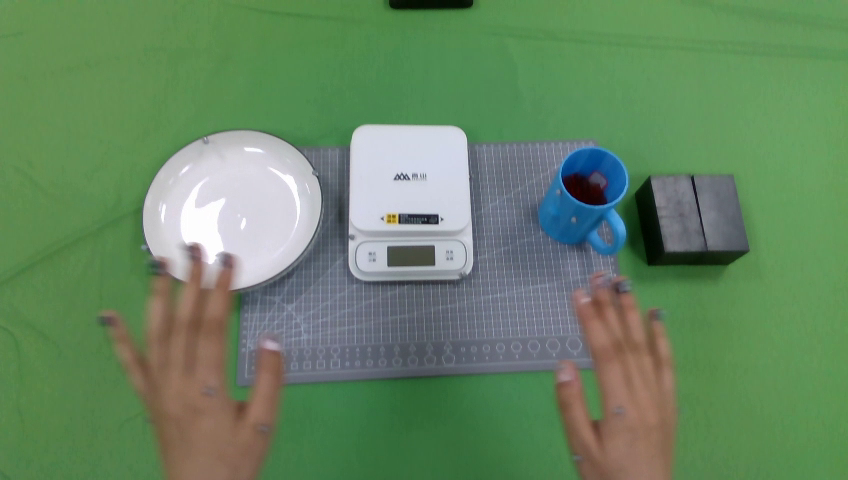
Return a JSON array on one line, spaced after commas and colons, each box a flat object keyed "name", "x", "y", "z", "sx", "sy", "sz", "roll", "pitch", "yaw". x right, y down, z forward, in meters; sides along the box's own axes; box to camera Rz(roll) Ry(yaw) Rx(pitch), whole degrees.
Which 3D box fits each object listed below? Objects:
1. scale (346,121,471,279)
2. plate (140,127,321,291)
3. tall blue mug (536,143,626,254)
[{"name": "scale", "x": -0.019, "y": -0.052, "z": 0.739, "sx": 0.149, "sy": 0.032, "sz": 0.199, "roll": -1, "pitch": 71, "yaw": -3}, {"name": "plate", "x": -0.224, "y": -0.036, "z": 0.720, "sx": 0.209, "sy": 0.038, "sz": 0.207, "roll": 0, "pitch": 70, "yaw": 0}, {"name": "tall blue mug", "x": 0.193, "y": -0.044, "z": 0.705, "sx": 0.107, "sy": 0.108, "sz": 0.077, "roll": 33, "pitch": 71, "yaw": 9}]
